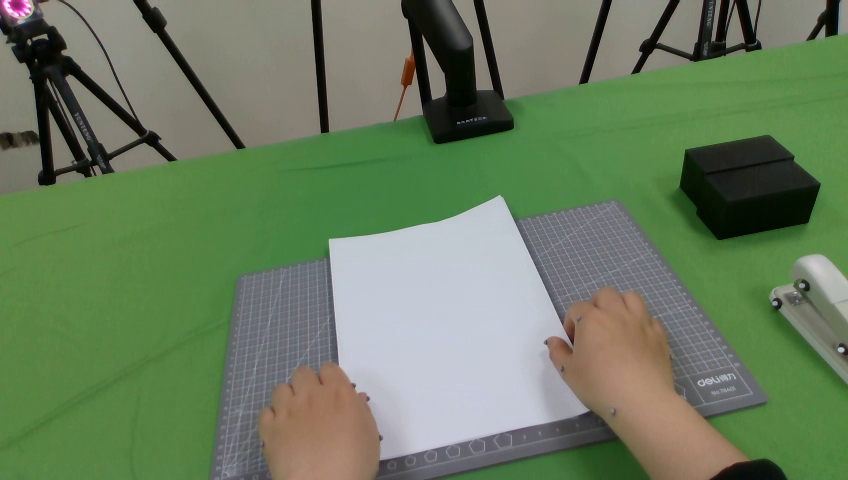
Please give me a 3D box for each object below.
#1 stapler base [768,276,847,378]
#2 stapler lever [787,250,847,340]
[{"bbox_3d":[0.350,0.071,0.517,0.041,0.025,0.129,-15,41,-3],"label":"stapler base"},{"bbox_3d":[0.348,0.054,0.500,0.027,0.040,0.116,-15,40,-3],"label":"stapler lever"}]
